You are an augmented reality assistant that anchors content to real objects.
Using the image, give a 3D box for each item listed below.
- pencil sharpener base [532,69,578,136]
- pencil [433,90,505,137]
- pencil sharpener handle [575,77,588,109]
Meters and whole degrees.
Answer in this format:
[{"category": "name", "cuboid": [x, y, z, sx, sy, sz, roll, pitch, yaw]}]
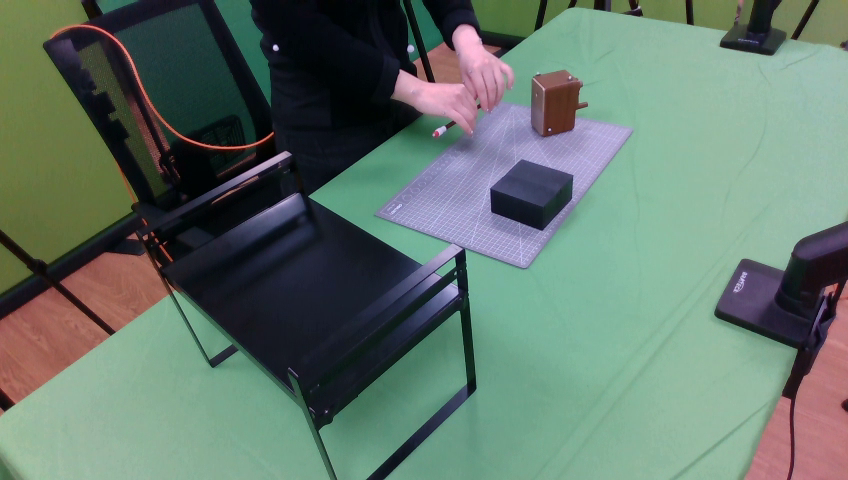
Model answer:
[{"category": "pencil sharpener base", "cuboid": [0.256, -0.268, 1.179, 0.077, 0.107, 0.061, -15, 41, -9]}, {"category": "pencil", "cuboid": [0.086, -0.235, 1.105, 0.195, 0.012, 0.012, -37, 48, -29]}, {"category": "pencil sharpener handle", "cuboid": [0.304, -0.289, 1.178, 0.031, 0.068, 0.035, -15, 33, -9]}]
